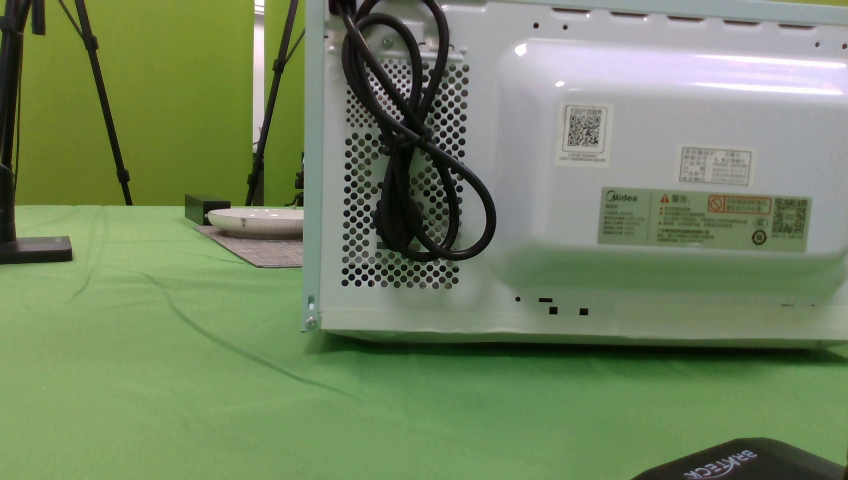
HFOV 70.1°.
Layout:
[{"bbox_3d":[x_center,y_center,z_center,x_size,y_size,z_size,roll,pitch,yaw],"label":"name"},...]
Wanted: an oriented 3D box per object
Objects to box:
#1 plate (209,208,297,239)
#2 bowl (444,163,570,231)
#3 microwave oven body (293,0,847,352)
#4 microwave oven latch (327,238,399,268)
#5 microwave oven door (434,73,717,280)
[{"bbox_3d":[-0.271,-0.029,1.074,0.208,0.039,0.207,3,7,0],"label":"plate"},{"bbox_3d":[0.099,-0.054,0.732,0.151,0.077,0.151,0,8,0],"label":"bowl"},{"bbox_3d":[0.122,-0.055,0.550,0.442,0.260,0.325,3,7,-5],"label":"microwave oven body"},{"bbox_3d":[-0.069,0.015,0.694,0.079,0.029,0.030,3,7,-3],"label":"microwave oven latch"},{"bbox_3d":[0.180,-0.089,0.794,0.354,0.243,0.039,6,7,30],"label":"microwave oven door"}]
